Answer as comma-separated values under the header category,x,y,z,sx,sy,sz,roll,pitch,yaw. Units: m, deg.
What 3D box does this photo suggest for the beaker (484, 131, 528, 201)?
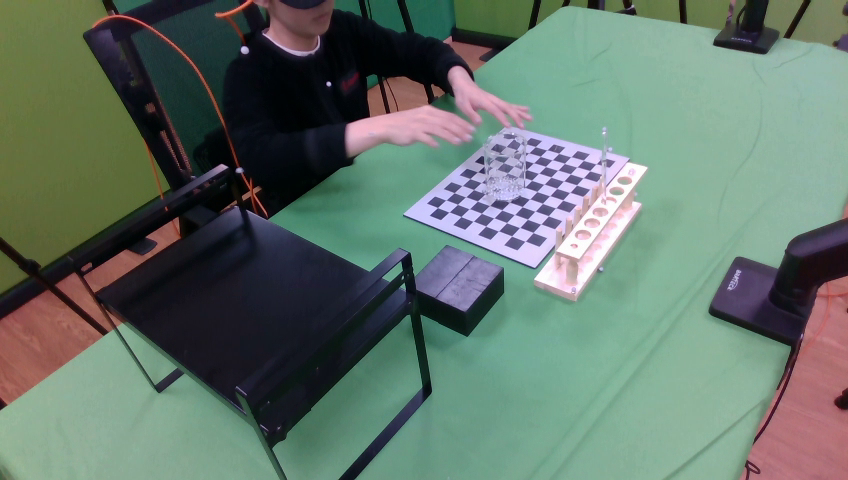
category,x,y,z,sx,sy,sz,roll,pitch,yaw
beaker,0.143,-0.126,1.035,0.073,0.100,0.084,25,49,32

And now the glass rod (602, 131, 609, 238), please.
category,x,y,z,sx,sy,sz,roll,pitch,yaw
glass rod,0.262,-0.074,0.871,0.008,0.201,0.008,-9,44,9

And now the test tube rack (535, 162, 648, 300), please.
category,x,y,z,sx,sy,sz,roll,pitch,yaw
test tube rack,0.257,-0.024,0.916,0.066,0.085,0.243,22,49,30
